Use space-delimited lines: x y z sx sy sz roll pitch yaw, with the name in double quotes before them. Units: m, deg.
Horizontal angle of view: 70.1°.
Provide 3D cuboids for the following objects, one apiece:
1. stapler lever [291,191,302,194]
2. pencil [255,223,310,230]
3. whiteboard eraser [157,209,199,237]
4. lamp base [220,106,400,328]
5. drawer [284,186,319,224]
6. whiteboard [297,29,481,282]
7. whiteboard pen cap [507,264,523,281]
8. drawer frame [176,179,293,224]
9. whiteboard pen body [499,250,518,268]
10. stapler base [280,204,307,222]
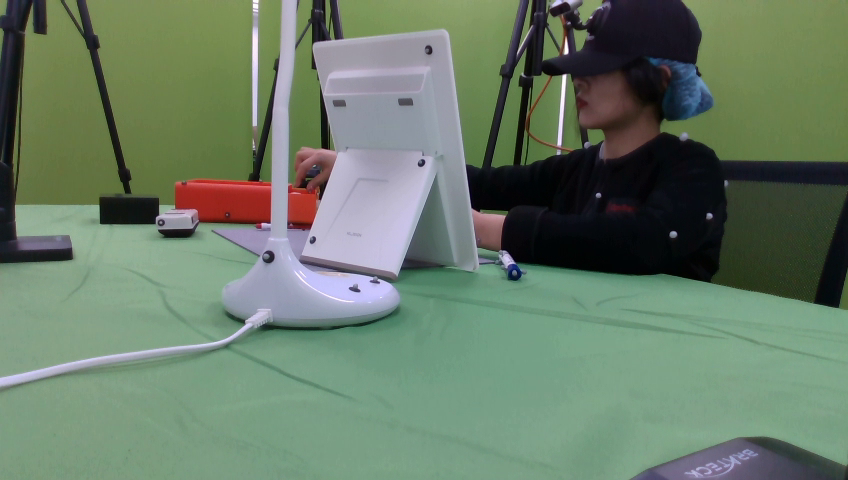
"stapler lever" -0.272 -0.088 1.313 0.027 0.040 0.118 21 5 -5
"pencil" -0.216 -0.023 1.134 0.195 0.012 0.012 1 7 -21
"whiteboard eraser" -0.411 -0.029 1.016 0.056 0.042 0.112 2 7 -16
"lamp base" -0.101 -0.023 0.531 0.160 0.180 0.179 4 10 10
"drawer" -0.333 -0.082 1.309 0.212 0.073 0.194 1 8 -9
"whiteboard" -0.075 -0.082 0.741 0.216 0.305 0.144 9 29 37
"whiteboard pen cap" 0.113 0.039 0.753 0.018 0.018 0.033 3 9 2
"drawer frame" -0.395 -0.086 1.299 0.214 0.082 0.201 1 8 -9
"whiteboard pen body" 0.115 0.032 0.811 0.017 0.017 0.140 3 8 1
"stapler base" -0.280 -0.063 1.315 0.041 0.024 0.130 21 7 -5
